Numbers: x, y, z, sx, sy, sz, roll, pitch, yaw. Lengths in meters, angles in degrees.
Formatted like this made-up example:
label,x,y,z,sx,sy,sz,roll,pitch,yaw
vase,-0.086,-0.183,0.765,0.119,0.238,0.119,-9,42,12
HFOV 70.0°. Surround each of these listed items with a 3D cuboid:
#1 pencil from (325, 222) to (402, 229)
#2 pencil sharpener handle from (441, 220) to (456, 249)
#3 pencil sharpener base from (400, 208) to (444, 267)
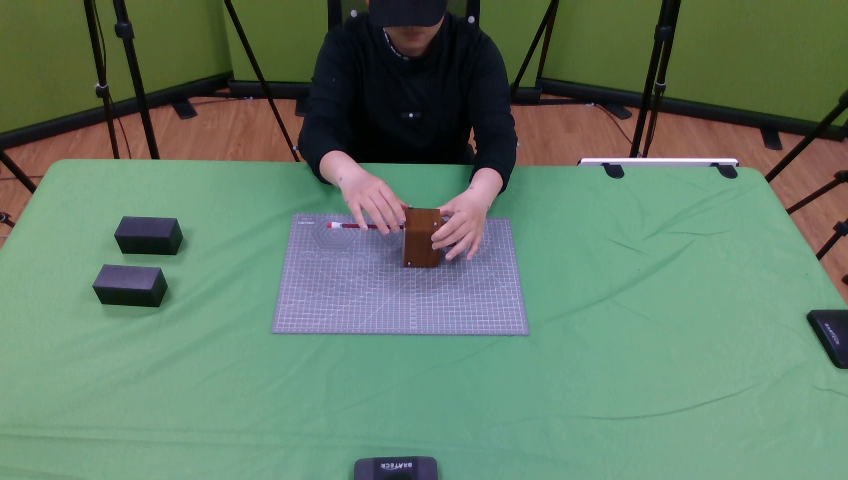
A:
label,x,y,z,sx,sy,sz,roll,pitch,yaw
pencil,-0.084,-0.024,1.112,0.194,0.012,0.012,2,45,-4
pencil sharpener handle,0.047,-0.010,1.132,0.031,0.068,0.036,1,43,-4
pencil sharpener base,-0.005,-0.003,1.137,0.077,0.107,0.061,1,45,-4
